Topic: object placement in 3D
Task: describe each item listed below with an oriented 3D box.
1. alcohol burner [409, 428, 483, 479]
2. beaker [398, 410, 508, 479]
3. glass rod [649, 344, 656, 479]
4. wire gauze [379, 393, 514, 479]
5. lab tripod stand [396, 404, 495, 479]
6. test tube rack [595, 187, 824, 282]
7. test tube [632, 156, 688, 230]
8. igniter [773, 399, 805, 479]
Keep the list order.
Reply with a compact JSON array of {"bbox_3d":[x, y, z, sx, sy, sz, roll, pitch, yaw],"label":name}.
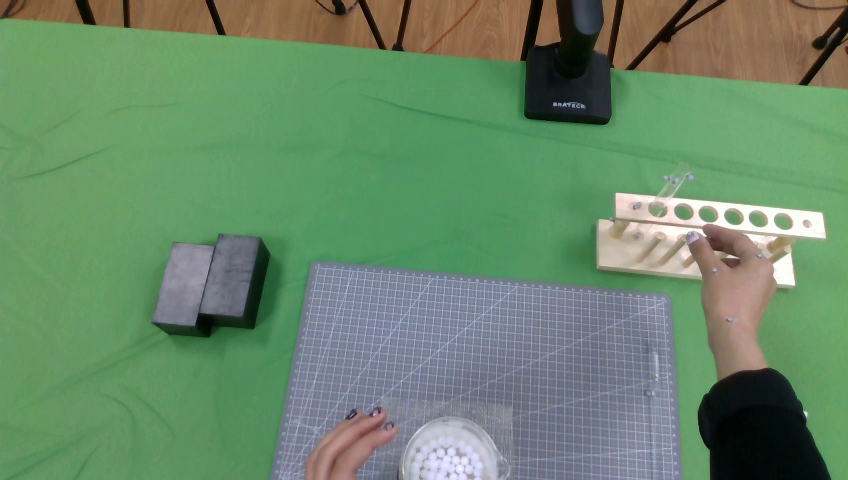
[{"bbox_3d":[0.024,0.227,0.619,0.078,0.120,0.077,1,66,-2],"label":"alcohol burner"},{"bbox_3d":[0.022,0.186,0.501,0.084,0.101,0.073,1,66,0],"label":"beaker"},{"bbox_3d":[0.259,0.215,0.685,0.008,0.008,0.198,7,70,2],"label":"glass rod"},{"bbox_3d":[0.019,0.201,0.547,0.125,0.011,0.120,2,65,2],"label":"wire gauze"},{"bbox_3d":[0.018,0.230,0.607,0.148,0.132,0.147,0,66,1],"label":"lab tripod stand"},{"bbox_3d":[0.341,-0.005,0.740,0.242,0.086,0.066,5,67,2],"label":"test tube rack"},{"bbox_3d":[0.271,-0.050,0.704,0.017,0.151,0.017,0,64,0],"label":"test tube"},{"bbox_3d":[0.386,0.309,0.641,0.057,0.025,0.275,16,68,-5],"label":"igniter"}]
